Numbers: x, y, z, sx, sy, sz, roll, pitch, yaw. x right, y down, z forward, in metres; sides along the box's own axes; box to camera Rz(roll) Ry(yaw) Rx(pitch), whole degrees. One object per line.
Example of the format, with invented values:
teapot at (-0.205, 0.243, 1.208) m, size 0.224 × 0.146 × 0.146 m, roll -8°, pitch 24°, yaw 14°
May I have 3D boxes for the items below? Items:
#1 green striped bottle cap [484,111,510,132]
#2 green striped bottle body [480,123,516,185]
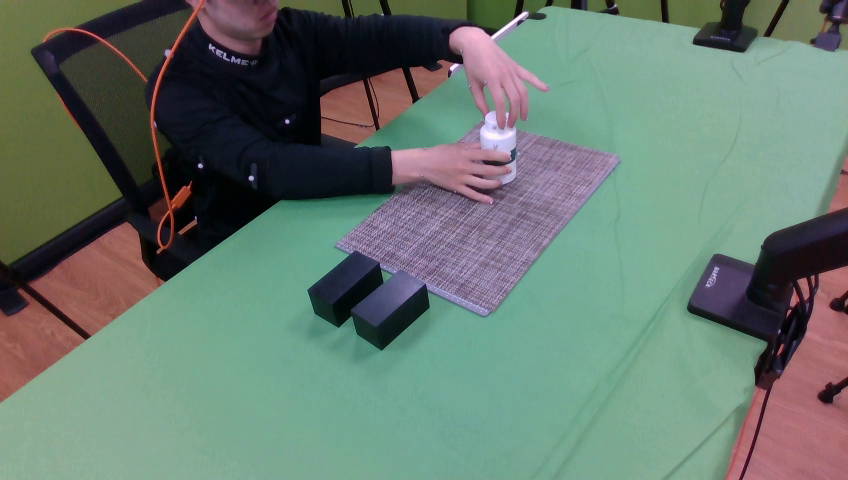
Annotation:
green striped bottle cap at (0.124, -0.201, 1.023) m, size 0.044 × 0.020 × 0.044 m, roll -4°, pitch 39°, yaw 4°
green striped bottle body at (0.130, -0.161, 1.057) m, size 0.063 × 0.120 × 0.063 m, roll -4°, pitch 40°, yaw 4°
